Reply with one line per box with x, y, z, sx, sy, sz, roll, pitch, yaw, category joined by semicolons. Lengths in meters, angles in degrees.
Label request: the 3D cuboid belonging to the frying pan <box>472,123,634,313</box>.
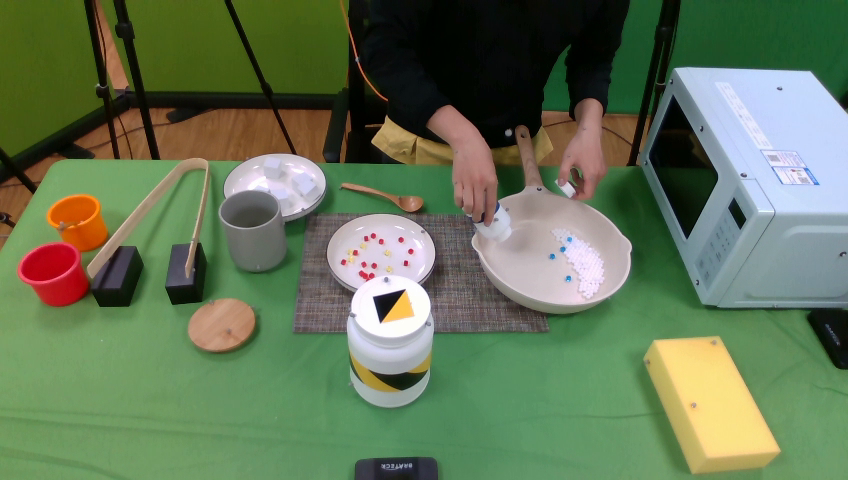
0.235;-0.060;1.207;0.307;0.103;0.484;2;54;-6;frying pan

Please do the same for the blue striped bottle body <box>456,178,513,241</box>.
0.117;-0.051;1.115;0.063;0.121;0.062;-32;28;19;blue striped bottle body

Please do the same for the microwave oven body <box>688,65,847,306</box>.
0.669;-0.111;1.176;0.326;0.261;0.439;0;46;-3;microwave oven body

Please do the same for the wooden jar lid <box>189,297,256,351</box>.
-0.342;0.145;1.033;0.108;0.021;0.107;2;45;-2;wooden jar lid

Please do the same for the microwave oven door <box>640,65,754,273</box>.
0.524;-0.148;1.193;0.039;0.245;0.353;0;47;-3;microwave oven door

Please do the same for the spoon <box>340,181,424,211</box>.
-0.090;-0.100;1.282;0.193;0.022;0.041;18;66;13;spoon

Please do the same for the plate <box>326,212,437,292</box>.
-0.080;0.030;1.143;0.209;0.038;0.208;2;46;-2;plate

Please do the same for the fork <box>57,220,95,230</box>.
-0.624;-0.027;1.087;0.028;0.207;0.018;-3;92;-17;fork

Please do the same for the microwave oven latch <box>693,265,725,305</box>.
0.523;0.082;1.116;0.030;0.029;0.078;2;46;-1;microwave oven latch

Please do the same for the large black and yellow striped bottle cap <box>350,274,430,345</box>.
-0.048;0.097;0.867;0.115;0.019;0.114;3;48;-3;large black and yellow striped bottle cap

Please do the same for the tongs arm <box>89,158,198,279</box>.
-0.529;-0.057;1.164;0.028;0.028;0.385;1;36;8;tongs arm

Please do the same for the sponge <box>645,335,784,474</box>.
0.449;0.253;0.956;0.118;0.061;0.205;-4;46;-7;sponge

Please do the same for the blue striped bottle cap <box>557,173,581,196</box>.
0.278;-0.106;1.160;0.045;0.020;0.044;29;35;-22;blue striped bottle cap

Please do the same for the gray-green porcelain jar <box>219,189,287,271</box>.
-0.310;-0.014;1.113;0.106;0.127;0.105;2;46;-2;gray-green porcelain jar

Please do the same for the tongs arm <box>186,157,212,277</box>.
-0.445;-0.058;1.168;0.051;0.026;0.382;-5;37;-6;tongs arm

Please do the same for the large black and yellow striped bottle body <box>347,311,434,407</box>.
-0.052;0.157;0.929;0.131;0.185;0.130;2;47;-2;large black and yellow striped bottle body

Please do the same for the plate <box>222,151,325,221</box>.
-0.310;-0.106;1.263;0.208;0.039;0.206;3;46;-2;plate
